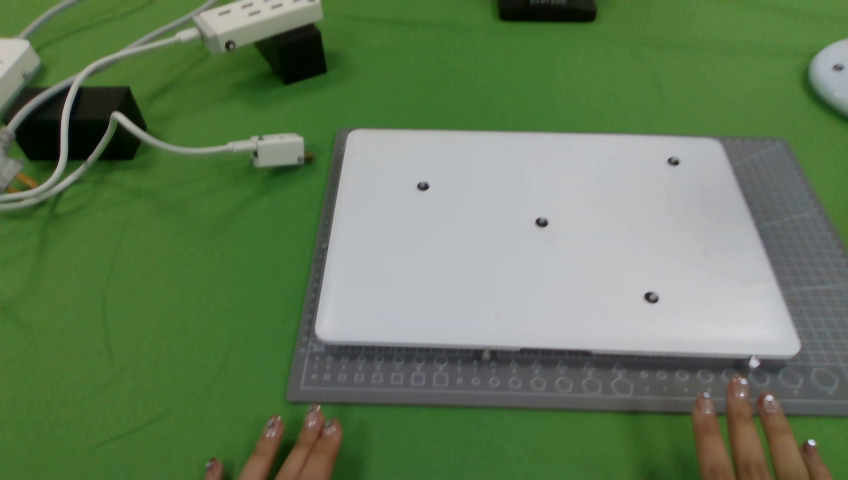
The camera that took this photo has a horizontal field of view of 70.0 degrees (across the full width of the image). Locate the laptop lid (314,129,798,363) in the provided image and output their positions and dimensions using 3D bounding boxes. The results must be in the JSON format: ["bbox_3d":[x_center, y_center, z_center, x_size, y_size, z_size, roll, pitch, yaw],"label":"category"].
[{"bbox_3d":[0.099,-0.009,0.503,0.357,0.013,0.239,3,52,2],"label":"laptop lid"}]

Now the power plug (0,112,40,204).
[{"bbox_3d":[-0.356,-0.069,0.535,0.072,0.053,0.035,-51,32,-3],"label":"power plug"}]

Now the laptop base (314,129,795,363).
[{"bbox_3d":[0.099,-0.004,0.513,0.354,0.023,0.233,2,54,1],"label":"laptop base"}]

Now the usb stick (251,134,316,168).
[{"bbox_3d":[-0.130,-0.084,0.568,0.059,0.027,0.021,-9,25,-36],"label":"usb stick"}]

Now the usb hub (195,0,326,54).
[{"bbox_3d":[-0.170,-0.233,0.636,0.125,0.025,0.049,-28,57,-21],"label":"usb hub"}]

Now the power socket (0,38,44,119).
[{"bbox_3d":[-0.467,-0.135,0.610,0.072,0.033,0.224,5,50,2],"label":"power socket"}]

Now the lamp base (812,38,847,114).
[{"bbox_3d":[0.511,-0.224,0.598,0.159,0.182,0.179,33,55,25],"label":"lamp base"}]
